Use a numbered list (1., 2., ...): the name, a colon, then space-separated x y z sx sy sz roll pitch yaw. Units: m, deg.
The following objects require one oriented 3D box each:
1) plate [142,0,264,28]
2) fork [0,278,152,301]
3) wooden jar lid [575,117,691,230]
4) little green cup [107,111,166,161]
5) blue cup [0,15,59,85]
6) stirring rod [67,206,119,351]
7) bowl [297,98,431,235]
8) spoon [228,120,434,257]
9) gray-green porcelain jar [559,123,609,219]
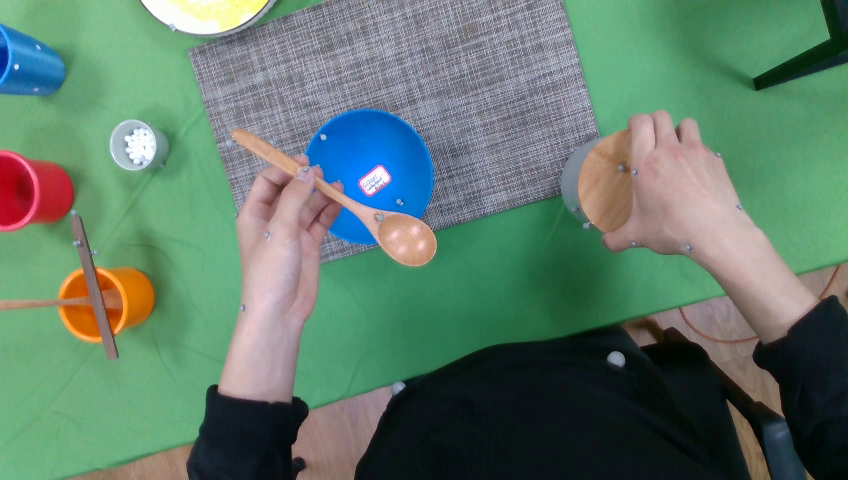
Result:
1. plate: -0.260 -0.356 0.719 0.209 0.038 0.209 1 96 6
2. fork: -0.439 0.063 0.725 0.208 0.018 0.028 -1 100 -37
3. wooden jar lid: 0.201 -0.064 0.587 0.108 0.020 0.108 0 98 3
4. little green cup: -0.354 -0.127 0.752 0.061 0.038 0.061 1 96 7
5. blue cup: -0.500 -0.225 0.726 0.092 0.100 0.093 1 96 8
6. stirring rod: -0.391 0.046 0.714 0.014 0.006 0.176 -14 94 6
7. bowl: -0.062 -0.083 0.700 0.151 0.077 0.151 1 96 7
8. spoon: -0.076 -0.046 0.506 0.195 0.021 0.041 32 95 -14
9. gray-green porcelain jar: 0.203 -0.072 0.648 0.106 0.126 0.106 0 98 3
